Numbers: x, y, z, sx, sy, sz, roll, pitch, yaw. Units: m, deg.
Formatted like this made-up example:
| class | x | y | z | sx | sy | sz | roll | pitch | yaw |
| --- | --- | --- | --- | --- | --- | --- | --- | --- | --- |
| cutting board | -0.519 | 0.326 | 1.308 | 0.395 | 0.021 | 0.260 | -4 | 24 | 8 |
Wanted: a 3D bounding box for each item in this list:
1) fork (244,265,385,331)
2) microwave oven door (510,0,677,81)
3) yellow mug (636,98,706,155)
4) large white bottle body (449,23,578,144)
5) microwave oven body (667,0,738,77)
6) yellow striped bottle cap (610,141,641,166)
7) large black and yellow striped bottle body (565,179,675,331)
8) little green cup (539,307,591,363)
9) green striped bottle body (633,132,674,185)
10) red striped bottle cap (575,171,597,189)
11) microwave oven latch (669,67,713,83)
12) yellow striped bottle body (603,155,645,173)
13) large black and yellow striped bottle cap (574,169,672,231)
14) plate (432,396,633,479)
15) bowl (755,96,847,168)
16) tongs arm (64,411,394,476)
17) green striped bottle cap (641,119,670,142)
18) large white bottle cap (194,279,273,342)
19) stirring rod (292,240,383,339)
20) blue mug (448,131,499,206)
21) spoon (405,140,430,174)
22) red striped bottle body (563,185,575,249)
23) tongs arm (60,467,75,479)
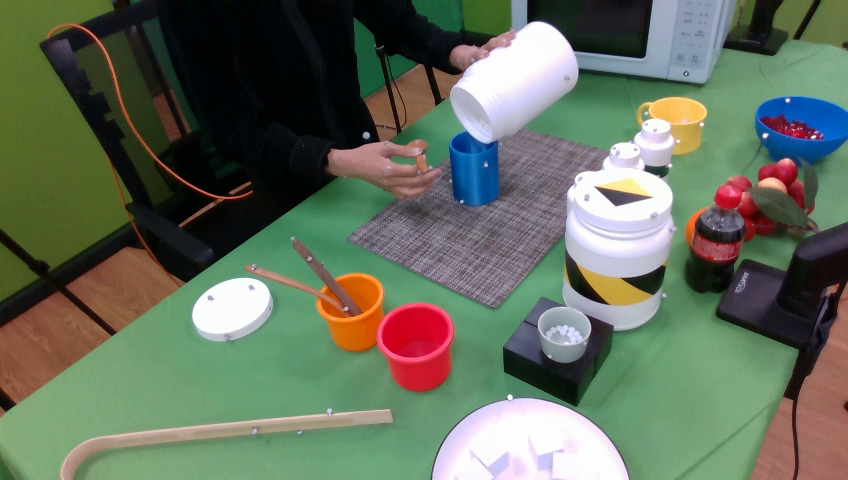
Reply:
| class | x | y | z | sx | sy | sz | roll | pitch | yaw |
| --- | --- | --- | --- | --- | --- | --- | --- | --- | --- |
| fork | -0.142 | 0.078 | 0.806 | 0.209 | 0.018 | 0.028 | 30 | 32 | -23 |
| microwave oven door | 0.354 | -0.478 | 1.290 | 0.353 | 0.245 | 0.039 | 15 | 45 | 25 |
| yellow mug | 0.453 | -0.217 | 1.128 | 0.100 | 0.064 | 0.129 | -34 | 46 | -27 |
| large white bottle body | 0.145 | -0.255 | 0.997 | 0.185 | 0.131 | 0.129 | -38 | 47 | -13 |
| microwave oven body | 0.462 | -0.552 | 1.369 | 0.439 | 0.261 | 0.326 | 15 | 45 | 26 |
| yellow striped bottle cap | 0.309 | -0.131 | 0.925 | 0.044 | 0.019 | 0.044 | -4 | 46 | 5 |
| large black and yellow striped bottle body | 0.254 | 0.014 | 0.793 | 0.131 | 0.185 | 0.130 | -5 | 40 | 4 |
| little green cup | 0.167 | 0.114 | 0.721 | 0.061 | 0.039 | 0.061 | -4 | 43 | 4 |
| green striped bottle body | 0.376 | -0.135 | 1.001 | 0.063 | 0.120 | 0.063 | -5 | 40 | 5 |
| red striped bottle cap | 0.242 | -0.081 | 0.876 | 0.044 | 0.018 | 0.044 | -5 | 44 | 5 |
| microwave oven latch | 0.556 | -0.349 | 1.261 | 0.078 | 0.029 | 0.030 | 16 | 46 | 27 |
| yellow striped bottle body | 0.314 | -0.091 | 0.957 | 0.063 | 0.121 | 0.062 | -4 | 40 | 4 |
| large black and yellow striped bottle cap | 0.242 | -0.051 | 0.738 | 0.115 | 0.019 | 0.114 | -4 | 37 | 3 |
| plate | 0.112 | 0.261 | 0.635 | 0.209 | 0.038 | 0.208 | -5 | 40 | 4 |
| bowl | 0.645 | -0.177 | 1.041 | 0.151 | 0.077 | 0.150 | -5 | 40 | 4 |
| tongs arm | -0.228 | 0.241 | 0.715 | 0.385 | 0.026 | 0.050 | -5 | 44 | 4 |
| green striped bottle cap | 0.371 | -0.175 | 0.968 | 0.044 | 0.020 | 0.044 | -4 | 42 | 5 |
| large white bottle cap | -0.284 | 0.103 | 0.902 | 0.115 | 0.018 | 0.114 | -4 | 40 | 4 |
| stirring rod | -0.118 | 0.068 | 0.826 | 0.176 | 0.006 | 0.014 | 48 | 59 | -4 |
| blue mug | 0.090 | -0.134 | 1.051 | 0.082 | 0.106 | 0.116 | 2 | 41 | 11 |
| spoon | -0.009 | -0.134 | 0.968 | 0.041 | 0.022 | 0.193 | -19 | 18 | 2 |
| red striped bottle body | 0.247 | -0.041 | 0.910 | 0.063 | 0.120 | 0.062 | -1 | 38 | 1 |
| tongs arm | -0.239 | 0.301 | 0.649 | 0.386 | 0.028 | 0.028 | 6 | 49 | 16 |
